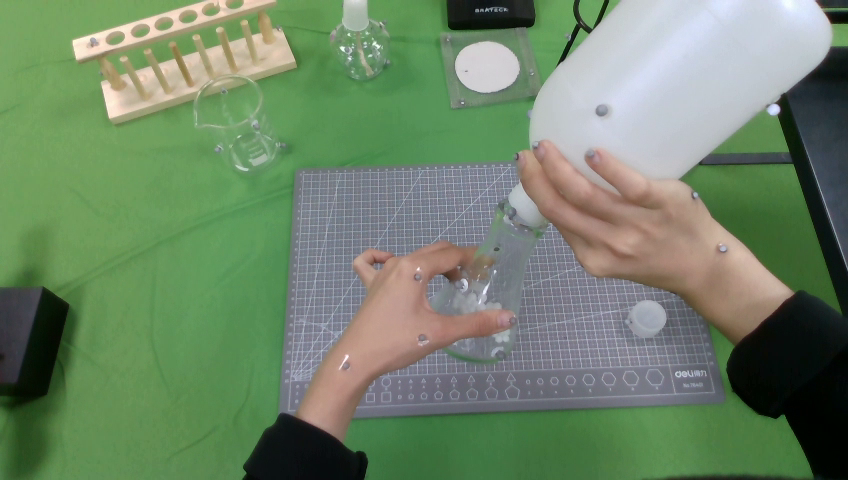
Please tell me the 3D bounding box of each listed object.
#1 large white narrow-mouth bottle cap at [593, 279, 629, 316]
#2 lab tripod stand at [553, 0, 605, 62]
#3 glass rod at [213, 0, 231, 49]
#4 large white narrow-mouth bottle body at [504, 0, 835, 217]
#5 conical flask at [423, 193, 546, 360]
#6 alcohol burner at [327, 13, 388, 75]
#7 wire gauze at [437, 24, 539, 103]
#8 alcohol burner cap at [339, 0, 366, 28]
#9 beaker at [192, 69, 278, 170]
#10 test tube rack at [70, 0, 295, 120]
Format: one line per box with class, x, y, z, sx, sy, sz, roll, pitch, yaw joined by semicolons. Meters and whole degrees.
large white narrow-mouth bottle cap;0.200;0.063;0.651;0.038;0.024;0.037;-1;64;2
lab tripod stand;0.212;-0.232;0.729;0.148;0.132;0.147;1;63;-1
glass rod;-0.250;-0.300;0.717;0.008;0.201;0.008;2;62;-4
large white narrow-mouth bottle body;0.125;-0.083;0.366;0.195;0.102;0.101;-43;62;30
conical flask;0.050;0.024;0.447;0.075;0.122;0.074;14;36;-10
alcohol burner;-0.085;-0.266;0.758;0.078;0.120;0.077;0;62;0
wire gauze;0.084;-0.238;0.802;0.121;0.011;0.124;-6;64;-4
alcohol burner cap;-0.085;-0.284;0.726;0.034;0.048;0.033;4;63;-7
beaker;-0.216;-0.133;0.703;0.084;0.101;0.073;-42;70;-17
test tube rack;-0.296;-0.238;0.761;0.242;0.086;0.066;-21;66;-10
